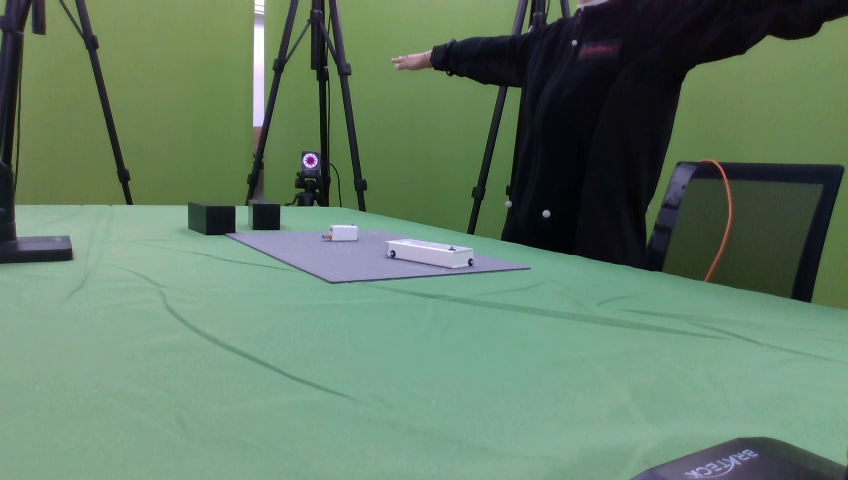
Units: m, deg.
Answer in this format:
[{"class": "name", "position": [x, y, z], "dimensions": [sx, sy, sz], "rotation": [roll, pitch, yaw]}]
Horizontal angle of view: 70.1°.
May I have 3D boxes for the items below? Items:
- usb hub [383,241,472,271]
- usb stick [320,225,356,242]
[{"class": "usb hub", "position": [0.003, 0.020, 0.842], "dimensions": [0.124, 0.025, 0.050], "rotation": [8, 9, 39]}, {"class": "usb stick", "position": [-0.146, -0.010, 1.017], "dimensions": [0.059, 0.027, 0.021], "rotation": [-3, 12, -26]}]
